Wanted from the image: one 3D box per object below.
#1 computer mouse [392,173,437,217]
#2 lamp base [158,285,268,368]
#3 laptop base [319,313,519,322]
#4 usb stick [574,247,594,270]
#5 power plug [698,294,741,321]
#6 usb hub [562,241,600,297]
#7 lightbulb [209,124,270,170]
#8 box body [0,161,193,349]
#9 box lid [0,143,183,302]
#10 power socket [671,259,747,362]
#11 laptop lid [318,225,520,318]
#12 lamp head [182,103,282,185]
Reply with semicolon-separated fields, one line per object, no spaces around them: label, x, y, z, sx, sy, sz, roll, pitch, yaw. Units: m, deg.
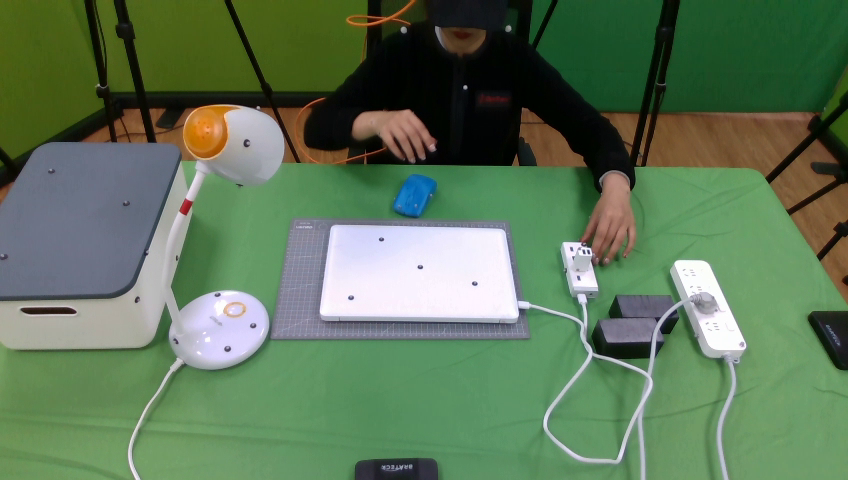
computer mouse;-0.018;-0.099;1.282;0.062;0.041;0.117;20;52;13
lamp base;-0.348;0.102;0.963;0.160;0.181;0.178;24;51;18
laptop base;-0.009;0.062;1.137;0.354;0.023;0.234;1;42;-3
usb stick;0.298;0.040;1.136;0.027;0.059;0.021;1;46;-4
power plug;0.515;0.127;1.070;0.035;0.053;0.072;-18;56;-7
usb hub;0.300;0.055;1.162;0.049;0.025;0.124;3;46;-3
lightbulb;-0.260;-0.135;0.847;0.059;0.108;0.059;-4;79;20
box body;-0.570;0.006;1.054;0.254;0.161;0.361;-1;46;-4
box lid;-0.567;-0.045;0.999;0.263;0.015;0.369;-1;46;-4
power socket;0.516;0.119;1.108;0.072;0.033;0.225;0;46;-2
laptop lid;-0.009;0.052;1.130;0.357;0.013;0.240;2;43;-2
lamp head;-0.271;-0.133;0.825;0.112;0.112;0.123;20;8;15
